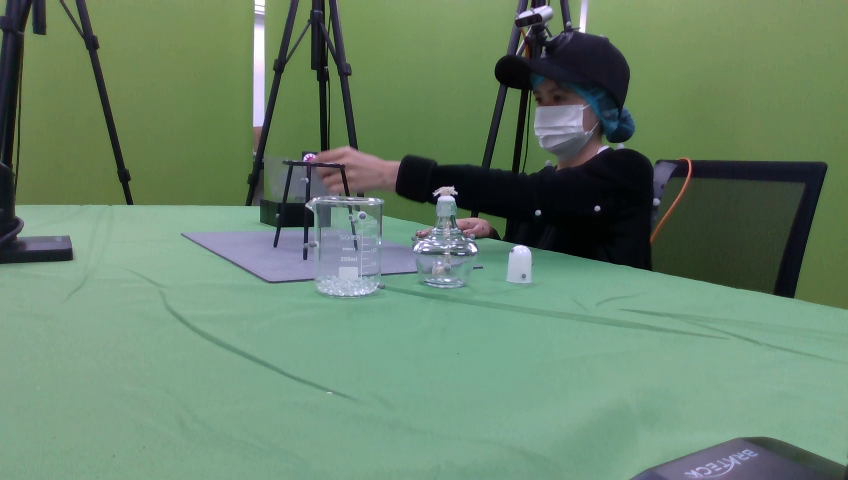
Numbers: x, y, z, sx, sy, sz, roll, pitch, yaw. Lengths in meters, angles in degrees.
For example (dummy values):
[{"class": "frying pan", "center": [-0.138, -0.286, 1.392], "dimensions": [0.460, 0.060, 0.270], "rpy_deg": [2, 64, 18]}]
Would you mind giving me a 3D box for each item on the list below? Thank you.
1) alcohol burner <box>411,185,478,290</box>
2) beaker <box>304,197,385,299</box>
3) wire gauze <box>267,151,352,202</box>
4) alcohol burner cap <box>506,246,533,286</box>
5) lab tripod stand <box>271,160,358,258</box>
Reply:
[{"class": "alcohol burner", "center": [0.024, -0.004, 0.697], "dimensions": [0.078, 0.119, 0.078], "rpy_deg": [0, 7, 0]}, {"class": "beaker", "center": [-0.083, 0.007, 0.628], "dimensions": [0.084, 0.100, 0.073], "rpy_deg": [-1, 7, -21]}, {"class": "wire gauze", "center": [-0.203, -0.112, 1.060], "dimensions": [0.122, 0.011, 0.125], "rpy_deg": [11, -33, -21]}, {"class": "alcohol burner cap", "center": [0.118, 0.032, 0.739], "dimensions": [0.034, 0.048, 0.034], "rpy_deg": [1, 7, 0]}, {"class": "lab tripod stand", "center": [-0.160, -0.048, 0.876], "dimensions": [0.148, 0.131, 0.148], "rpy_deg": [3, 5, 0]}]
